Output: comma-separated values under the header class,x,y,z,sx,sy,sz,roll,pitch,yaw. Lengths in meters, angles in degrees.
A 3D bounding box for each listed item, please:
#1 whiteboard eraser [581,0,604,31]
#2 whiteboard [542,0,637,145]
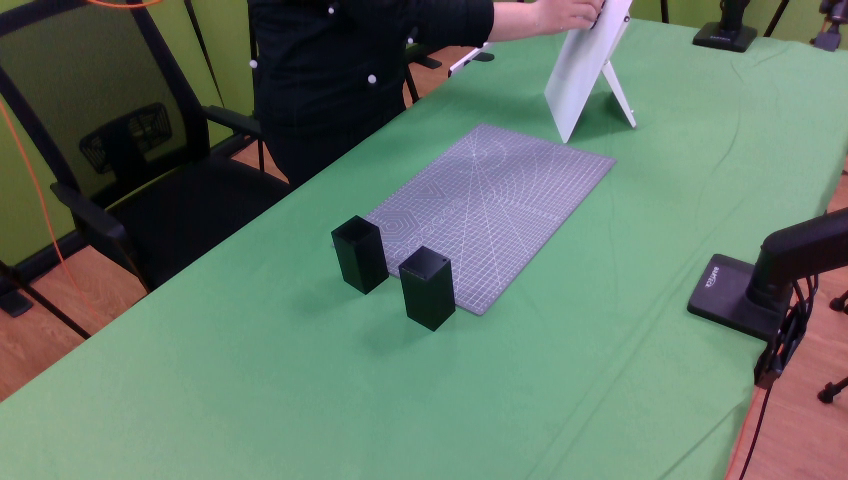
class,x,y,z,sx,sy,sz,roll,pitch,yaw
whiteboard eraser,0.311,-0.432,1.101,0.019,0.101,0.041,6,41,-11
whiteboard,0.365,-0.351,1.160,0.144,0.306,0.216,9,39,-10
